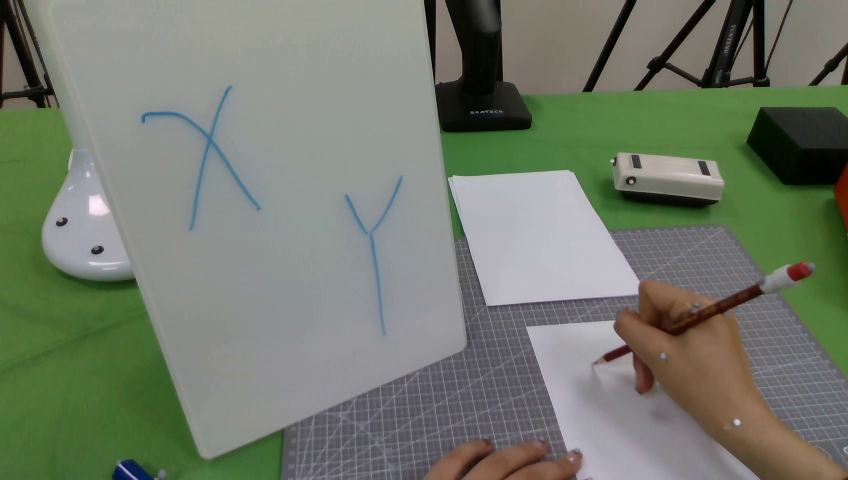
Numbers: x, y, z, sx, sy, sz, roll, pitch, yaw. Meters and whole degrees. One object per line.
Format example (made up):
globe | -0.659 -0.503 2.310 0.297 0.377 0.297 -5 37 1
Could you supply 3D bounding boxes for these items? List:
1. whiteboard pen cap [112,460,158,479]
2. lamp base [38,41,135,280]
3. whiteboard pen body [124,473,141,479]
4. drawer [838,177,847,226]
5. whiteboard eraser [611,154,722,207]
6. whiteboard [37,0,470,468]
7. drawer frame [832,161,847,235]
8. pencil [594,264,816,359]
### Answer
whiteboard pen cap | -0.188 0.160 0.399 0.033 0.018 0.018 23 44 26
lamp base | -0.296 -0.081 0.557 0.178 0.182 0.160 23 44 27
whiteboard pen body | -0.141 0.182 0.374 0.140 0.017 0.017 24 44 24
drawer | 0.529 0.007 0.577 0.194 0.074 0.210 12 40 13
whiteboard eraser | 0.270 -0.066 0.682 0.112 0.042 0.055 7 41 5
whiteboard | -0.108 -0.033 0.457 0.218 0.307 0.142 -18 25 -22
drawer frame | 0.530 0.003 0.579 0.201 0.083 0.212 11 40 12
pencil | 0.178 0.057 0.418 0.012 0.194 0.012 11 61 -21
